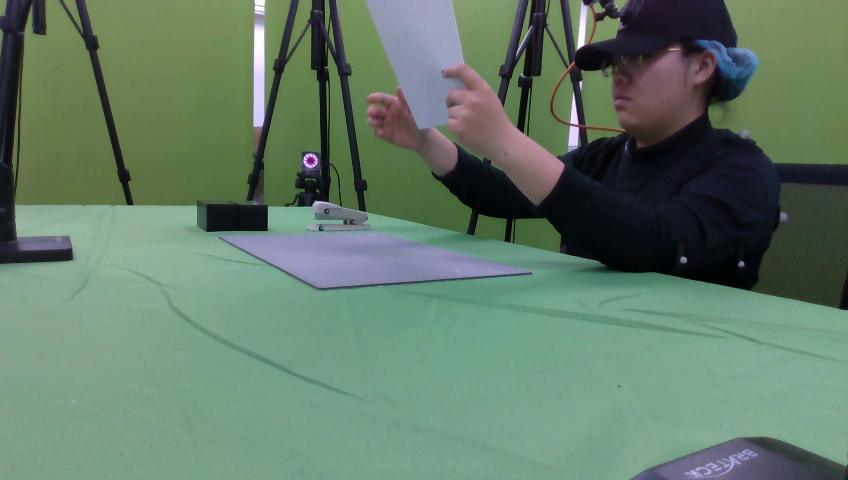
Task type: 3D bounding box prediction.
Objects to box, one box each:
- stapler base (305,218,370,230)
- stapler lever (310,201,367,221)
[{"bbox_3d":[-0.173,-0.034,1.215,0.131,0.024,0.041,1,9,-35],"label":"stapler base"},{"bbox_3d":[-0.170,-0.057,1.214,0.119,0.040,0.026,-1,10,-34],"label":"stapler lever"}]
